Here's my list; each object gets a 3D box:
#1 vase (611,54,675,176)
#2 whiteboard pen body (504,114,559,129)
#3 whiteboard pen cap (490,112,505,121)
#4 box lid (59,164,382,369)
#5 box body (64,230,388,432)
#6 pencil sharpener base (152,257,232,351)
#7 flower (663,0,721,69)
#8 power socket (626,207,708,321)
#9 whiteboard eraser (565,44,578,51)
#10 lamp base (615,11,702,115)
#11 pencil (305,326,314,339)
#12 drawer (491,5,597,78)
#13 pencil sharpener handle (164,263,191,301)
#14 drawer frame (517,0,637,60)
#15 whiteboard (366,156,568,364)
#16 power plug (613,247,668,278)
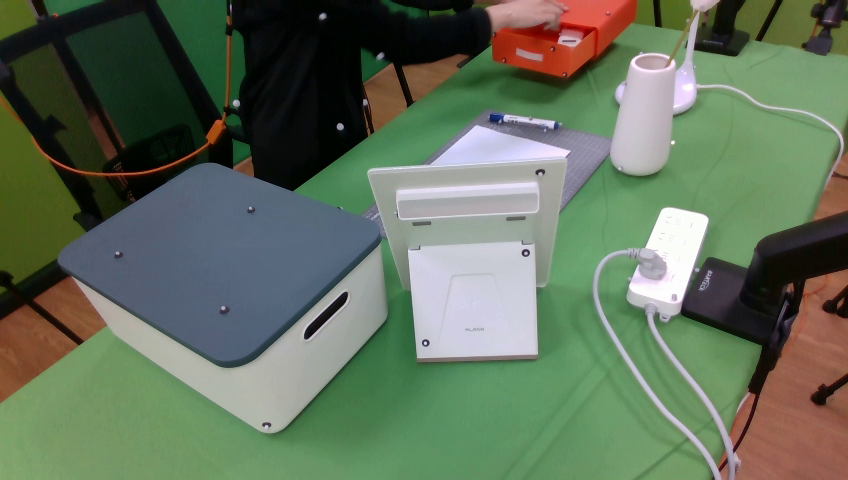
[{"bbox_3d":[0.377,-0.209,1.031,0.098,0.201,0.097,-3,40,3],"label":"vase"},{"bbox_3d":[0.205,-0.242,1.225,0.140,0.017,0.017,14,45,26],"label":"whiteboard pen body"},{"bbox_3d":[0.154,-0.254,1.250,0.033,0.018,0.018,14,45,26],"label":"whiteboard pen cap"},{"bbox_3d":[-0.263,0.010,0.777,0.368,0.015,0.264,20,47,29],"label":"box lid"},{"bbox_3d":[-0.256,0.065,0.827,0.361,0.161,0.255,20,48,29],"label":"box body"},{"bbox_3d":[-0.322,0.088,0.841,0.061,0.107,0.076,-28,44,-20],"label":"pencil sharpener base"},{"bbox_3d":[0.379,-0.261,0.965,0.044,0.362,0.038,20,52,5],"label":"flower"},{"bbox_3d":[0.359,0.025,0.886,0.072,0.033,0.227,16,46,26],"label":"power socket"},{"bbox_3d":[0.332,-0.414,1.357,0.055,0.042,0.113,1,12,22],"label":"whiteboard eraser"},{"bbox_3d":[0.484,-0.364,1.211,0.180,0.181,0.159,-15,41,-14],"label":"lamp base"},{"bbox_3d":[-0.187,0.106,0.880,0.012,0.012,0.192,-27,41,-22],"label":"pencil"},{"bbox_3d":[0.289,-0.453,1.353,0.193,0.073,0.212,24,49,32],"label":"drawer"},{"bbox_3d":[-0.354,0.055,0.866,0.036,0.068,0.030,-17,39,-29],"label":"pencil sharpener handle"},{"bbox_3d":[0.356,-0.516,1.415,0.200,0.083,0.214,22,51,31],"label":"drawer frame"},{"bbox_3d":[0.059,0.050,0.738,0.217,0.307,0.143,-2,60,6],"label":"whiteboard"},{"bbox_3d":[0.306,0.031,0.851,0.072,0.053,0.035,24,49,34],"label":"power plug"}]
